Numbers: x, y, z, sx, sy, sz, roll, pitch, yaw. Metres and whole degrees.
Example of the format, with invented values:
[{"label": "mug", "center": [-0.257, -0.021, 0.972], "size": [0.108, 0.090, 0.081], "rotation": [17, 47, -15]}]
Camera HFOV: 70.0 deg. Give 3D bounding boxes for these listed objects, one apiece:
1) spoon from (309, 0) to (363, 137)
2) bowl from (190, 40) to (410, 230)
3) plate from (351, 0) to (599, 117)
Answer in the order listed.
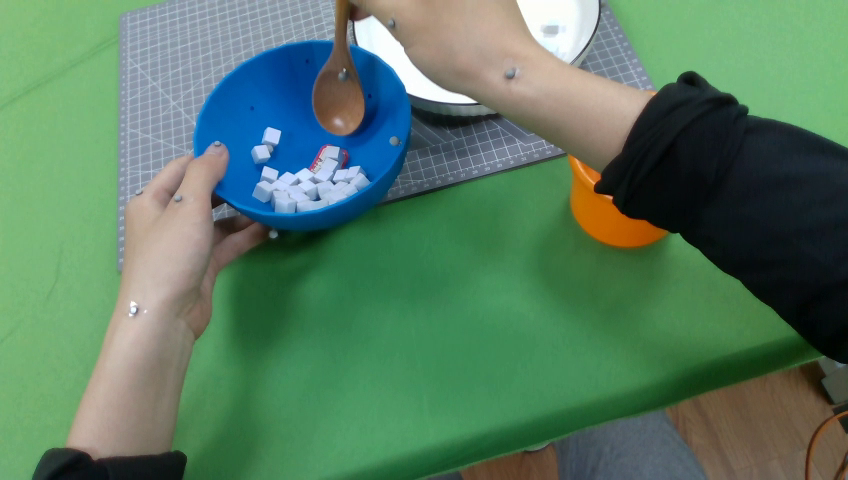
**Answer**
[{"label": "spoon", "center": [-0.052, -0.136, 0.383], "size": [0.041, 0.195, 0.021], "rotation": [24, 58, 3]}, {"label": "bowl", "center": [-0.081, -0.063, 0.444], "size": [0.151, 0.077, 0.150], "rotation": [-2, 63, 4]}, {"label": "plate", "center": [0.042, -0.186, 0.524], "size": [0.209, 0.038, 0.207], "rotation": [-3, 63, 6]}]
